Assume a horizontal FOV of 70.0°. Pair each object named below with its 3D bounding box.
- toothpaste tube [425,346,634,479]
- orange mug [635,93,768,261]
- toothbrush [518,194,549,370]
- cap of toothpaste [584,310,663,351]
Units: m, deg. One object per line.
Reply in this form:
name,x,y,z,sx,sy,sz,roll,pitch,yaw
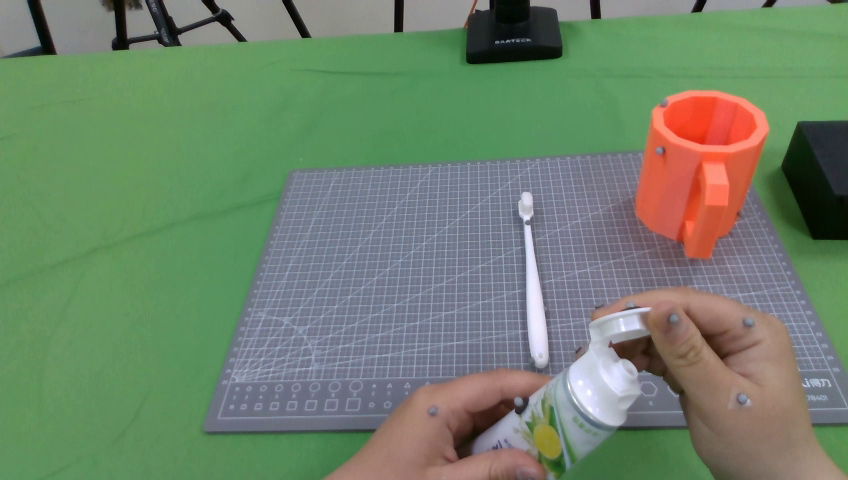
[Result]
toothpaste tube,0.052,0.112,0.325,0.035,0.165,0.054,-5,49,-43
orange mug,0.224,-0.048,0.495,0.083,0.102,0.125,4,42,12
toothbrush,0.089,0.026,0.498,0.014,0.017,0.180,6,47,-2
cap of toothpaste,0.092,0.043,0.281,0.037,0.037,0.011,-3,64,5
